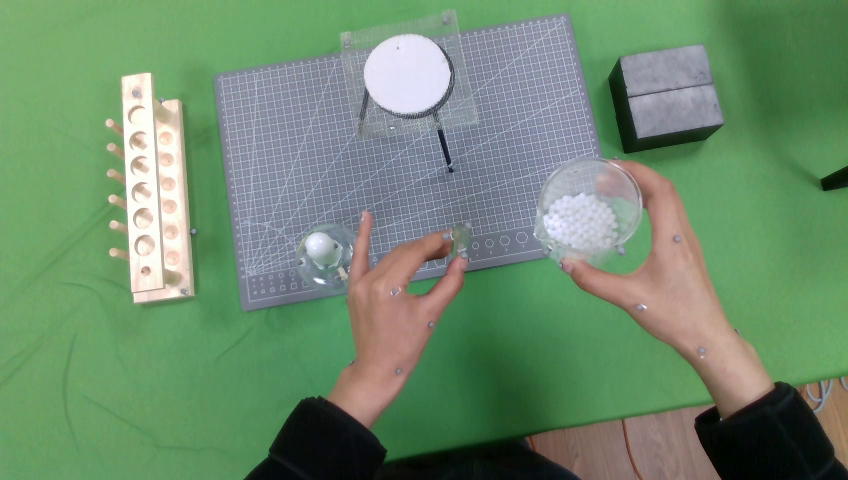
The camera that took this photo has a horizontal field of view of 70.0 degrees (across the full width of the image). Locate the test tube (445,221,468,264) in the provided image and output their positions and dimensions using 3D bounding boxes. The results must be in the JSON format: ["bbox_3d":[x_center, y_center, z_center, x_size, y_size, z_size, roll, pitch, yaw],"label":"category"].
[{"bbox_3d":[0.028,0.005,0.537,0.017,0.150,0.017,0,80,1],"label":"test tube"}]

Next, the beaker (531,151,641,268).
[{"bbox_3d":[0.124,-0.017,0.489,0.084,0.101,0.073,-30,76,2],"label":"beaker"}]

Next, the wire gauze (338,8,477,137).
[{"bbox_3d":[-0.018,-0.167,0.607,0.125,0.011,0.121,-9,80,-1],"label":"wire gauze"}]

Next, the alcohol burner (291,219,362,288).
[{"bbox_3d":[-0.108,0.012,0.654,0.078,0.119,0.077,0,79,0],"label":"alcohol burner"}]

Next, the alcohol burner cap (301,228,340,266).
[{"bbox_3d":[-0.108,0.006,0.619,0.034,0.048,0.033,-2,74,7],"label":"alcohol burner cap"}]

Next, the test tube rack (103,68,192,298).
[{"bbox_3d":[-0.319,-0.061,0.687,0.067,0.085,0.241,-8,80,0],"label":"test tube rack"}]

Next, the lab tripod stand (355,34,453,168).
[{"bbox_3d":[-0.014,-0.159,0.673,0.148,0.132,0.147,0,78,2],"label":"lab tripod stand"}]
